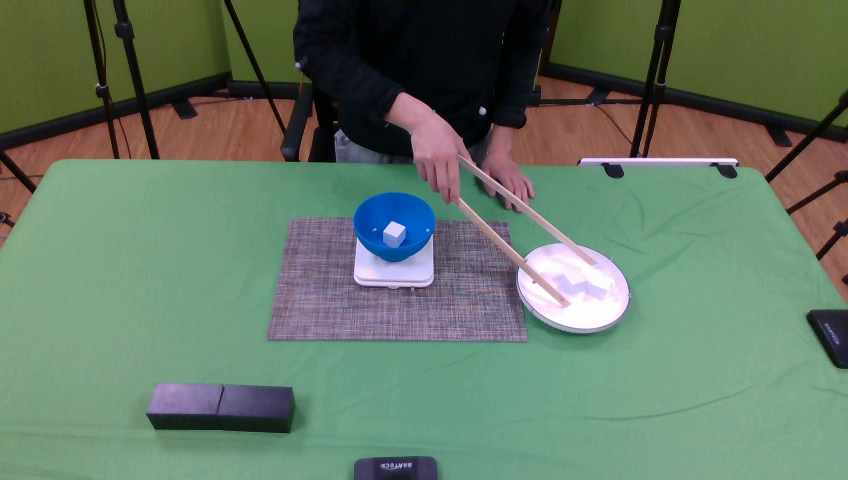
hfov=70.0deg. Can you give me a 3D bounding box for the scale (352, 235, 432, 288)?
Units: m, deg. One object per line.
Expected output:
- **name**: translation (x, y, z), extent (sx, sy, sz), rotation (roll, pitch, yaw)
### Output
- **scale**: translation (-0.060, 0.010, 1.171), extent (0.149, 0.032, 0.199), rotation (2, 46, -3)

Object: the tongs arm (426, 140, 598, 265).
- **tongs arm**: translation (0.164, -0.068, 1.113), extent (0.388, 0.028, 0.028), rotation (36, 72, -6)

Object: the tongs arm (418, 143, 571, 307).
- **tongs arm**: translation (0.130, -0.026, 1.090), extent (0.385, 0.026, 0.050), rotation (42, 68, -4)

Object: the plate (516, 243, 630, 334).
- **plate**: translation (0.272, 0.092, 1.120), extent (0.208, 0.039, 0.206), rotation (2, 46, -2)

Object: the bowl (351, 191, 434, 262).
- **bowl**: translation (-0.057, -0.013, 1.120), extent (0.151, 0.077, 0.150), rotation (1, 45, -1)
